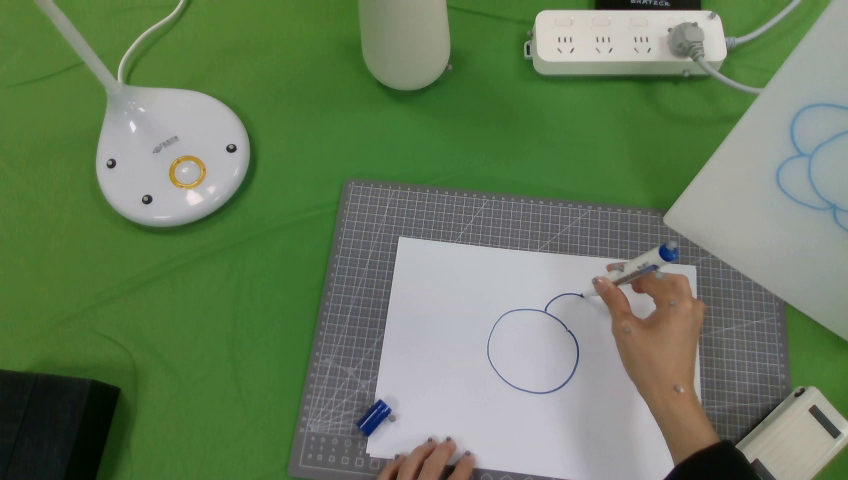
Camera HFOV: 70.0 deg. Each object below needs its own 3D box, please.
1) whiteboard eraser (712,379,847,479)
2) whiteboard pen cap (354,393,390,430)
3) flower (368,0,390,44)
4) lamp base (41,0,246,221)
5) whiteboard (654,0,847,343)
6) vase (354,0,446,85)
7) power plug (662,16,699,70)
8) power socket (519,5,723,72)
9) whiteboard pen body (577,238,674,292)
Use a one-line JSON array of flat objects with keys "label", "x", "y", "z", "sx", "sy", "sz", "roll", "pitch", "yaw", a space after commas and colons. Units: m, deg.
[{"label": "whiteboard eraser", "x": 0.309, "y": 0.175, "z": 0.527, "sx": 0.112, "sy": 0.042, "sz": 0.055, "roll": -36, "pitch": 72, "yaw": -11}, {"label": "whiteboard pen cap", "x": -0.046, "y": 0.156, "z": 0.553, "sx": 0.018, "sy": 0.018, "sz": 0.033, "roll": 41, "pitch": 73, "yaw": 15}, {"label": "flower", "x": -0.011, "y": -0.264, "z": 0.525, "sx": 0.044, "sy": 0.361, "sz": 0.038, "roll": -36, "pitch": 90, "yaw": -20}, {"label": "lamp base", "x": -0.282, "y": -0.129, "z": 0.577, "sx": 0.178, "sy": 0.181, "sz": 0.160, "roll": 38, "pitch": 74, "yaw": 17}, {"label": "whiteboard", "x": 0.390, "y": -0.090, "z": 0.519, "sx": 0.216, "sy": 0.307, "sz": 0.143, "roll": 36, "pitch": 53, "yaw": 14}, {"label": "vase", "x": -0.028, "y": -0.245, "z": 0.606, "sx": 0.098, "sy": 0.201, "sz": 0.097, "roll": -1, "pitch": 69, "yaw": 2}, {"label": "power plug", "x": 0.273, "y": -0.206, "z": 0.651, "sx": 0.035, "sy": 0.053, "sz": 0.072, "roll": 11, "pitch": 76, "yaw": 5}, {"label": "power socket", "x": 0.223, "y": -0.227, "z": 0.683, "sx": 0.227, "sy": 0.033, "sz": 0.071, "roll": 1, "pitch": 71, "yaw": 1}, {"label": "whiteboard pen body", "x": 0.171, "y": 0.027, "z": 0.533, "sx": 0.017, "sy": 0.141, "sz": 0.017, "roll": 5, "pitch": 70, "yaw": -15}]
